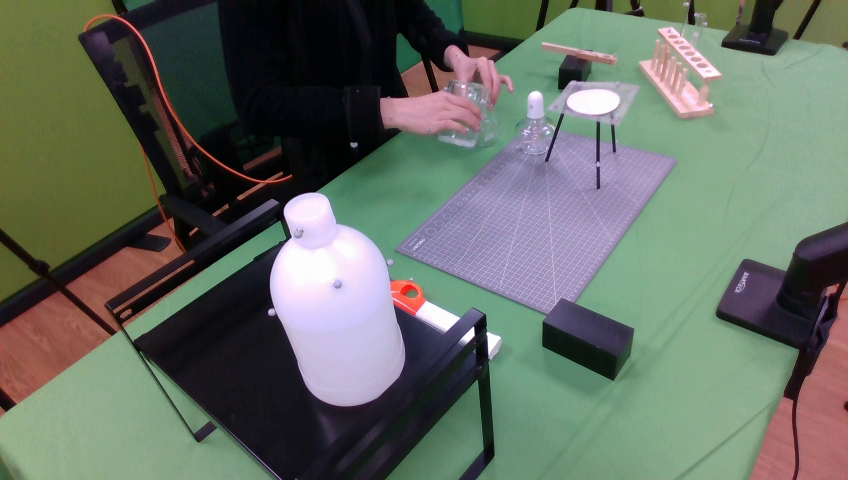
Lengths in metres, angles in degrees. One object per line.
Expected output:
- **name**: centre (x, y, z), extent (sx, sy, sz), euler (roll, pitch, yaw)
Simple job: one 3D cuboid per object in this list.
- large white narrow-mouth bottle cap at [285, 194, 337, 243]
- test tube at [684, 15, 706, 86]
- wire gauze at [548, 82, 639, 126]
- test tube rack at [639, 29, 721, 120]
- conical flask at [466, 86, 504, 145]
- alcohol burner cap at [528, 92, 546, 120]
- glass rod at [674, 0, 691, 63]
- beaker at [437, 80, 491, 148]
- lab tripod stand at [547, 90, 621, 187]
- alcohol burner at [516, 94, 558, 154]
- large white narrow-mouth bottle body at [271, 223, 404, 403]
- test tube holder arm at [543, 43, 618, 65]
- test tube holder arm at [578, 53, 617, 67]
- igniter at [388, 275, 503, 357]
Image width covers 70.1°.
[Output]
- **large white narrow-mouth bottle cap**: centre (-0.087, -0.017, 0.467), extent (0.038, 0.024, 0.037), euler (-4, 40, 4)
- **test tube**: centre (0.541, -0.378, 1.216), extent (0.017, 0.151, 0.017), euler (-2, 44, 3)
- **wire gauze**: centre (0.286, -0.235, 1.019), extent (0.124, 0.011, 0.121), euler (17, 46, 28)
- **test tube rack**: centre (0.527, -0.351, 1.262), extent (0.067, 0.085, 0.241), euler (-8, 40, 1)
- **conical flask**: centre (0.110, -0.242, 1.158), extent (0.075, 0.122, 0.075), euler (-5, 67, 13)
- **alcohol burner cap**: centre (0.206, -0.249, 1.112), extent (0.034, 0.048, 0.033), euler (-6, 35, 5)
- **glass rod**: centre (0.537, -0.437, 1.257), extent (0.008, 0.200, 0.008), euler (0, 39, 1)
- **beaker**: centre (0.067, -0.211, 1.022), extent (0.073, 0.100, 0.084), euler (18, 11, 22)
- **lab tripod stand**: centre (0.289, -0.184, 1.062), extent (0.148, 0.132, 0.147), euler (-6, 41, 6)
- **alcohol burner**: centre (0.212, -0.221, 1.134), extent (0.078, 0.119, 0.077), euler (-5, 43, 5)
- **large white narrow-mouth bottle body**: centre (-0.077, 0.048, 0.525), extent (0.102, 0.195, 0.101), euler (-5, 41, 4)
- **test tube holder arm**: centre (0.344, -0.413, 1.340), extent (0.177, 0.015, 0.013), euler (25, 51, 31)
- **test tube holder arm**: centre (0.376, -0.393, 1.314), extent (0.087, 0.015, 0.010), euler (26, 51, 32)
- **igniter**: centre (-0.008, 0.093, 0.870), extent (0.274, 0.025, 0.057), euler (24, 60, 33)
